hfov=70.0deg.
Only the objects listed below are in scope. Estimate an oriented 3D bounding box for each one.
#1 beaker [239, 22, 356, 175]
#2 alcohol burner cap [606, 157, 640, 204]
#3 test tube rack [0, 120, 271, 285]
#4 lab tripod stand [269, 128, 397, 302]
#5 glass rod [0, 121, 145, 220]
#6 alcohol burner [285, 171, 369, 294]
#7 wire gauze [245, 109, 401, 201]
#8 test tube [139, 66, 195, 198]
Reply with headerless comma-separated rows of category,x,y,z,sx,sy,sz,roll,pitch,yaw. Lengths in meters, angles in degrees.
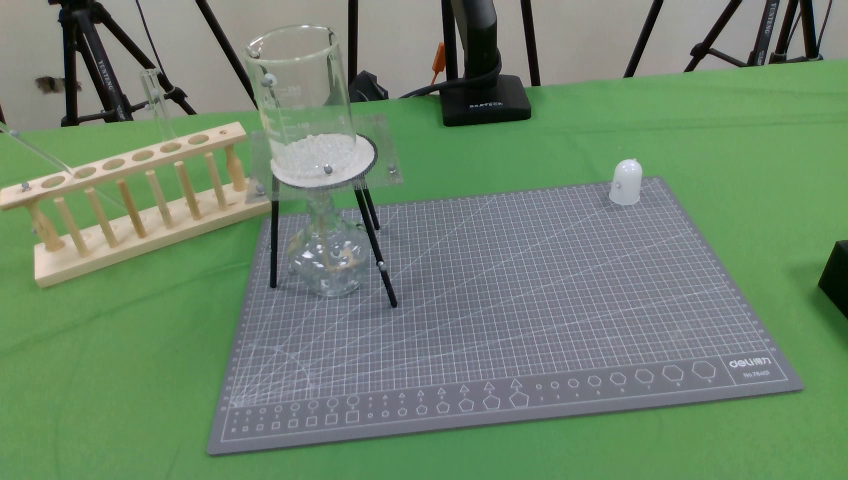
beaker,-0.097,-0.109,0.477,0.083,0.101,0.073,14,43,24
alcohol burner cap,0.213,-0.066,0.645,0.034,0.048,0.033,-3,39,3
test tube rack,-0.298,-0.045,0.646,0.243,0.086,0.066,-21,42,-19
lab tripod stand,-0.082,-0.022,0.551,0.148,0.133,0.147,-3,41,3
glass rod,-0.360,-0.074,0.599,0.008,0.202,0.008,-20,48,24
alcohol burner,-0.091,-0.009,0.552,0.078,0.120,0.077,-3,37,3
wire gauze,-0.087,-0.072,0.509,0.125,0.011,0.120,-12,37,-3
test tube,-0.270,-0.109,0.643,0.017,0.151,0.017,-2,36,2
